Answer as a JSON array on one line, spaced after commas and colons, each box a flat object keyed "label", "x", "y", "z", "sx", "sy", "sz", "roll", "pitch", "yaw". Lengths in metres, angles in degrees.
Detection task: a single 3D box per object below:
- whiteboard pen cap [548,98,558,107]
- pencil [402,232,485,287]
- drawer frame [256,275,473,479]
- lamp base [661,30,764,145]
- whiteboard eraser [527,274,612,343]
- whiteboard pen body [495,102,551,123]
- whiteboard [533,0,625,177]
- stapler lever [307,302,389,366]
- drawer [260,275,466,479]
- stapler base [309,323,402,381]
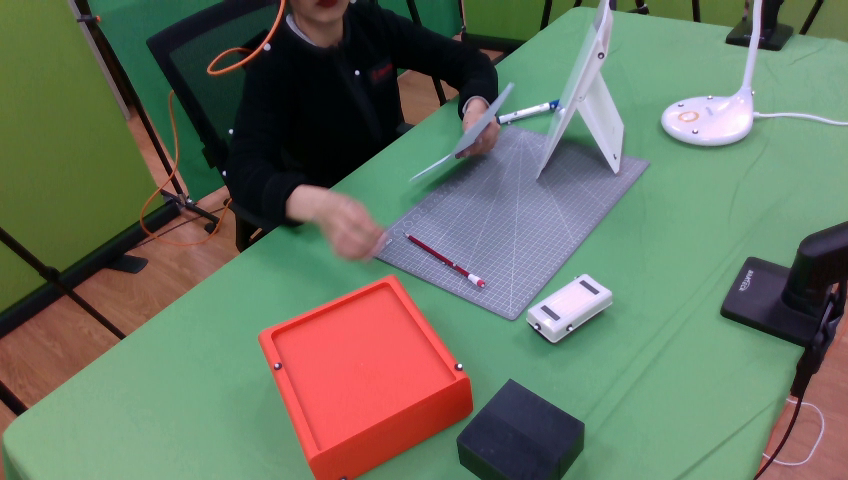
[{"label": "whiteboard pen cap", "x": 0.273, "y": -0.285, "z": 1.257, "sx": 0.033, "sy": 0.018, "sz": 0.018, "roll": -10, "pitch": 40, "yaw": -6}, {"label": "pencil", "x": 0.026, "y": 0.027, "z": 0.949, "sx": 0.012, "sy": 0.012, "sz": 0.192, "roll": -34, "pitch": 45, "yaw": -26}, {"label": "drawer frame", "x": -0.078, "y": 0.164, "z": 0.756, "sx": 0.202, "sy": 0.083, "sz": 0.211, "roll": -23, "pitch": 43, "yaw": -17}, {"label": "lamp base", "x": 0.535, "y": -0.287, "z": 1.096, "sx": 0.179, "sy": 0.181, "sz": 0.159, "roll": -10, "pitch": 40, "yaw": -4}, {"label": "whiteboard eraser", "x": 0.198, "y": 0.094, "z": 0.820, "sx": 0.113, "sy": 0.042, "sz": 0.055, "roll": -29, "pitch": 43, "yaw": -22}, {"label": "whiteboard pen body", "x": 0.217, "y": -0.268, "z": 1.254, "sx": 0.141, "sy": 0.017, "sz": 0.017, "roll": -16, "pitch": 41, "yaw": -3}, {"label": "whiteboard", "x": 0.321, "y": -0.258, "z": 1.049, "sx": 0.144, "sy": 0.306, "sz": 0.217, "roll": 20, "pitch": 45, "yaw": 4}, {"label": "stapler lever", "x": -0.101, "y": 0.121, "z": 0.799, "sx": 0.118, "sy": 0.040, "sz": 0.026, "roll": -26, "pitch": 29, "yaw": -17}, {"label": "drawer", "x": -0.080, "y": 0.162, "z": 0.760, "sx": 0.195, "sy": 0.073, "sz": 0.210, "roll": -22, "pitch": 42, "yaw": -16}, {"label": "stapler base", "x": -0.094, "y": 0.142, "z": 0.812, "sx": 0.131, "sy": 0.024, "sz": 0.041, "roll": -25, "pitch": 29, "yaw": -18}]
